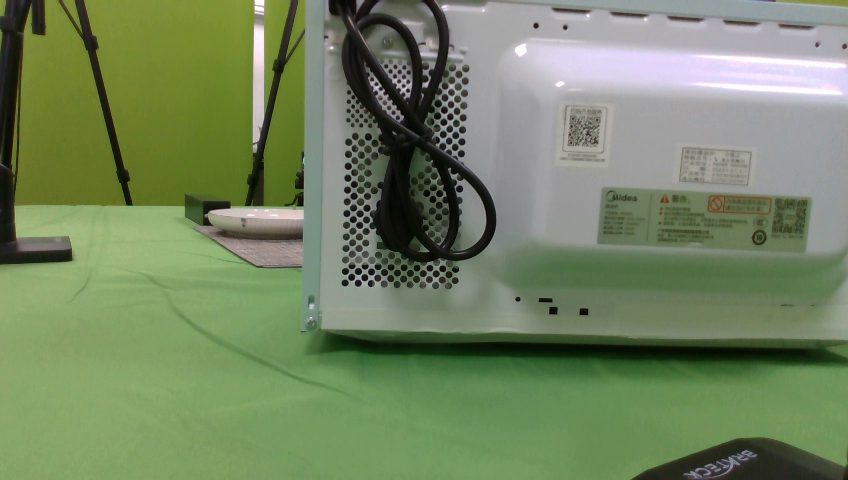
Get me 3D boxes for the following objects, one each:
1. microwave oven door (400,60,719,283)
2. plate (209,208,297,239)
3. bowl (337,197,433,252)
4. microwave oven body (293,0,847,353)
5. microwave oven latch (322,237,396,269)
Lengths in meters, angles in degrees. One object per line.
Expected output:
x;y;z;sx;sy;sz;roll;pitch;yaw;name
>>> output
0.155;-0.079;0.709;0.356;0.243;0.039;3;8;-1;microwave oven door
-0.271;-0.029;1.073;0.208;0.039;0.207;3;7;0;plate
-0.062;-0.025;0.955;0.151;0.077;0.151;3;8;0;bowl
0.122;-0.055;0.550;0.442;0.260;0.325;3;7;-5;microwave oven body
-0.073;0.015;0.687;0.079;0.029;0.030;5;6;12;microwave oven latch
